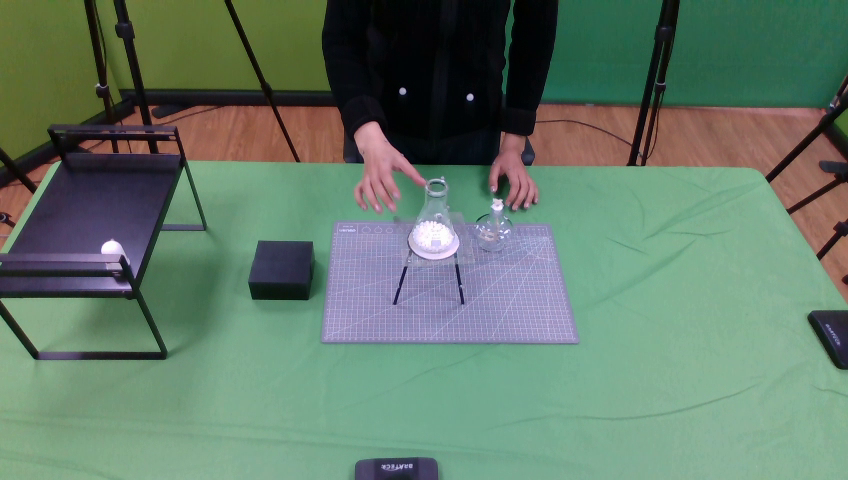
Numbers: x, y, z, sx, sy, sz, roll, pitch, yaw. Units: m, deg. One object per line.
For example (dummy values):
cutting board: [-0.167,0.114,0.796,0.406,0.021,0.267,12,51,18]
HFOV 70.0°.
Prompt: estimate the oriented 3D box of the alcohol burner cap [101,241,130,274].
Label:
alcohol burner cap: [-0.449,0.022,0.877,0.034,0.048,0.033,2,45,-2]

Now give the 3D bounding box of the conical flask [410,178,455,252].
conical flask: [0.016,-0.043,0.987,0.075,0.122,0.075,2,47,-2]

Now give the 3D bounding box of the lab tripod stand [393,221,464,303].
lab tripod stand: [0.010,0.045,1.075,0.148,0.132,0.147,2,48,-2]

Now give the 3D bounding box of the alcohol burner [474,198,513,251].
alcohol burner: [0.137,-0.035,1.176,0.078,0.120,0.077,1,47,-1]

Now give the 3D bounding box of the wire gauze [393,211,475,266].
wire gauze: [0.015,-0.002,1.030,0.125,0.011,0.120,-6,45,-6]
